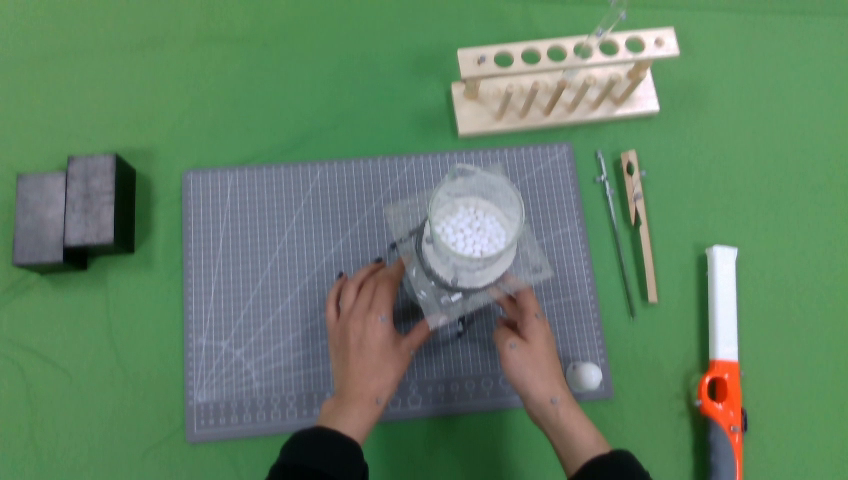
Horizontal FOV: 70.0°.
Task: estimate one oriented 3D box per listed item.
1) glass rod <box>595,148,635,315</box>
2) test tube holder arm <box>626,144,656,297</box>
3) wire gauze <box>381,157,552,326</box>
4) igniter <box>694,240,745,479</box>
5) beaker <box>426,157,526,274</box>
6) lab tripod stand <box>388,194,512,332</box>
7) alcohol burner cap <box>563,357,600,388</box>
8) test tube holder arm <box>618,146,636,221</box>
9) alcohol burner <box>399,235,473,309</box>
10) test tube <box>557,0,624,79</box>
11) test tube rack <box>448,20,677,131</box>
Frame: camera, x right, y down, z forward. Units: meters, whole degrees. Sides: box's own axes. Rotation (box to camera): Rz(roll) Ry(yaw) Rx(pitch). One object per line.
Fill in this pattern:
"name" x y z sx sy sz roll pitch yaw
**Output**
"glass rod" 0.217 -0.013 0.694 0.008 0.008 0.198 -7 77 -5
"test tube holder arm" 0.247 -0.023 0.692 0.013 0.015 0.177 -12 77 28
"wire gauze" 0.037 -0.002 0.548 0.121 0.011 0.124 -22 80 -4
"igniter" 0.319 0.136 0.657 0.057 0.025 0.275 8 77 -11
"beaker" 0.037 -0.015 0.502 0.074 0.100 0.083 -20 78 -5
"lab tripod stand" 0.029 0.015 0.611 0.148 0.132 0.147 0 78 -1
"alcohol burner cap" 0.168 0.138 0.638 0.034 0.048 0.033 1 77 -2
"test tube holder arm" 0.238 -0.066 0.703 0.010 0.015 0.087 -11 77 29
"alcohol burner" 0.013 0.029 0.617 0.078 0.119 0.077 1 74 -2
"test tube" 0.174 -0.214 0.648 0.017 0.150 0.017 2 75 -8
"test tube rack" 0.155 -0.185 0.691 0.242 0.085 0.066 -7 77 -4
